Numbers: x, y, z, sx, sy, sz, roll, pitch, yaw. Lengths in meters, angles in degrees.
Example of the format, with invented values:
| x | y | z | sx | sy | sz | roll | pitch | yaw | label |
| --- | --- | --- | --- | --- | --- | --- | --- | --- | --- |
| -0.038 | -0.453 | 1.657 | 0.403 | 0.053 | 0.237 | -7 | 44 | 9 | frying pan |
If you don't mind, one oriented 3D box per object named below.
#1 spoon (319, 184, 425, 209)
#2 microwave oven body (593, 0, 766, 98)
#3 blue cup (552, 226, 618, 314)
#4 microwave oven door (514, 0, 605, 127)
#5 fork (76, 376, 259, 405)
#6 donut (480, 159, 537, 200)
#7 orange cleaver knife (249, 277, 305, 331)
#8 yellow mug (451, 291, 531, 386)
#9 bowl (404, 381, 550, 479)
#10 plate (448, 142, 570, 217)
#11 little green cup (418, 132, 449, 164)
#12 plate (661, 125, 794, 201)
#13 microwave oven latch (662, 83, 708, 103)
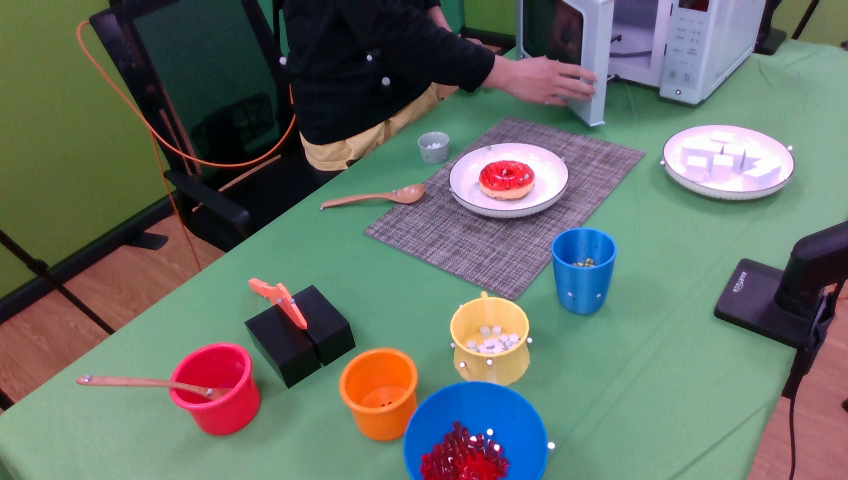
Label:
| x | y | z | sx | sy | sz | roll | pitch | yaw | label |
| --- | --- | --- | --- | --- | --- | --- | --- | --- | --- |
| -0.094 | -0.076 | 1.074 | 0.193 | 0.022 | 0.041 | -5 | 56 | 5 | spoon |
| 0.472 | -0.513 | 1.317 | 0.438 | 0.261 | 0.327 | 26 | 51 | 34 | microwave oven body |
| 0.218 | 0.047 | 0.826 | 0.092 | 0.101 | 0.092 | -6 | 40 | 5 | blue cup |
| 0.269 | -0.417 | 1.227 | 0.039 | 0.245 | 0.353 | -16 | 41 | -10 | microwave oven door |
| -0.295 | 0.176 | 0.716 | 0.209 | 0.018 | 0.028 | 20 | 27 | -37 | fork |
| 0.145 | -0.106 | 1.042 | 0.099 | 0.048 | 0.098 | -4 | 38 | 4 | donut |
| -0.210 | 0.088 | 0.856 | 0.012 | 0.077 | 0.210 | -28 | 15 | -25 | orange cleaver knife |
| 0.085 | 0.120 | 0.786 | 0.100 | 0.064 | 0.130 | -7 | 39 | 1 | yellow mug |
| 0.058 | 0.235 | 0.645 | 0.151 | 0.077 | 0.150 | -4 | 39 | 4 | bowl |
| 0.148 | -0.101 | 1.053 | 0.209 | 0.038 | 0.208 | -4 | 40 | 4 | plate |
| 0.019 | -0.178 | 1.168 | 0.061 | 0.039 | 0.061 | -3 | 41 | 3 | little green cup |
| 0.513 | -0.128 | 1.035 | 0.207 | 0.039 | 0.206 | -4 | 40 | 4 | plate |
| 0.518 | -0.297 | 1.204 | 0.078 | 0.029 | 0.030 | 28 | 52 | 36 | microwave oven latch |
